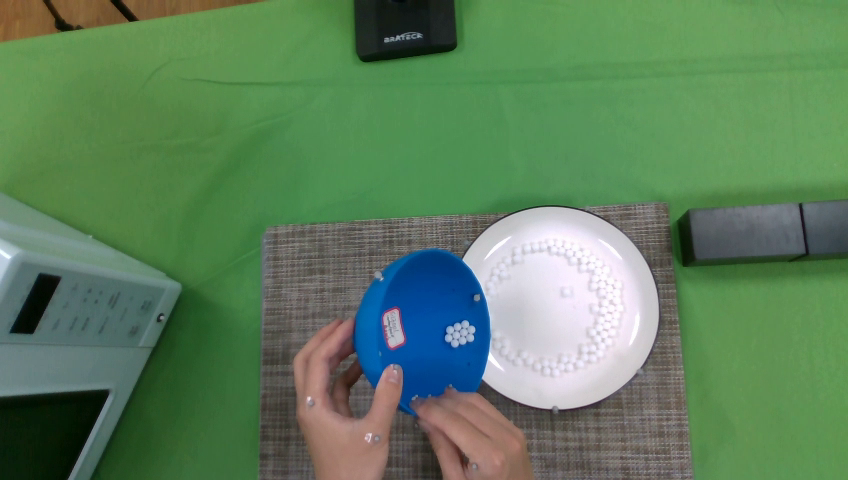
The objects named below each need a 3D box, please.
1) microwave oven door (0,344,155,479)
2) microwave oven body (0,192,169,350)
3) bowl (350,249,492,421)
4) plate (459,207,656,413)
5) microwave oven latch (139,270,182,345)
[{"bbox_3d":[-0.412,0.255,0.562,0.039,0.245,0.355,23,84,14],"label":"microwave oven door"},{"bbox_3d":[-0.525,0.163,0.602,0.325,0.261,0.441,23,85,12],"label":"microwave oven body"},{"bbox_3d":[-0.015,0.086,0.560,0.076,0.152,0.151,-7,76,44],"label":"bowl"},{"bbox_3d":[0.127,0.070,0.624,0.207,0.039,0.207,-2,80,9],"label":"plate"},{"bbox_3d":[-0.303,0.076,0.680,0.030,0.029,0.079,25,86,13],"label":"microwave oven latch"}]
